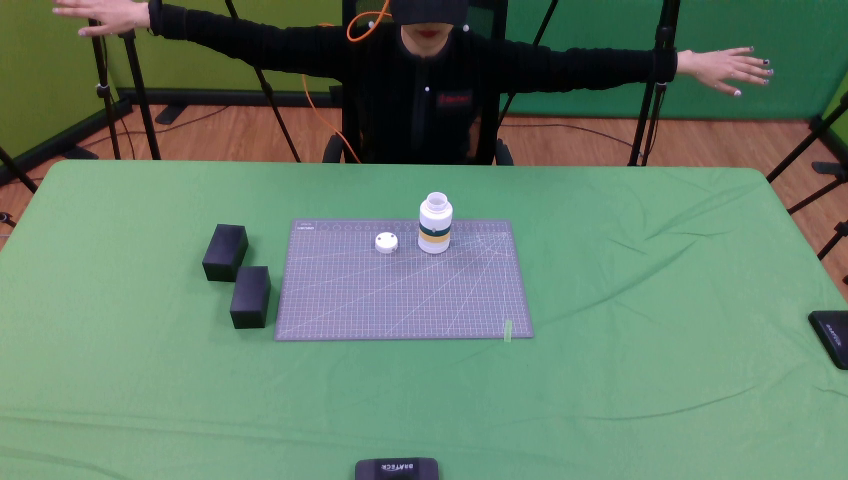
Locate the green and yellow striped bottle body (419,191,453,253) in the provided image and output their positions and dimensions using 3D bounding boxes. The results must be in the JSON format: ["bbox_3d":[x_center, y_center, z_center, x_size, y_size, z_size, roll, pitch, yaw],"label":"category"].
[{"bbox_3d":[0.023,-0.036,1.160,0.063,0.120,0.063,2,46,-2],"label":"green and yellow striped bottle body"}]

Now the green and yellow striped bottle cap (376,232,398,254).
[{"bbox_3d":[-0.073,0.006,1.187,0.045,0.020,0.045,2,45,-2],"label":"green and yellow striped bottle cap"}]
